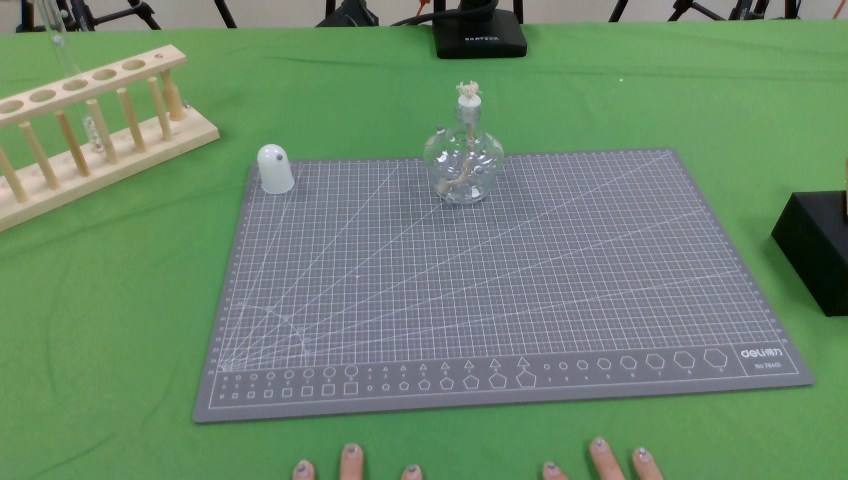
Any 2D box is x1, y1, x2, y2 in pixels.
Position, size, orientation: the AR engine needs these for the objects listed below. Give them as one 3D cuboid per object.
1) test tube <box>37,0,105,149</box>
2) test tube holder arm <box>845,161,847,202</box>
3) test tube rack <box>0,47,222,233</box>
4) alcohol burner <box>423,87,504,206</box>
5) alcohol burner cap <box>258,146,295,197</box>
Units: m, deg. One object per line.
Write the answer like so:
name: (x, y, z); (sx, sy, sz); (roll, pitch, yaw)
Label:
test tube: (-0.331, -0.155, 0.574); (0.017, 0.151, 0.017); (1, 38, 0)
test tube holder arm: (0.376, -0.044, 0.527); (0.010, 0.015, 0.087); (19, 48, 15)
test tube rack: (-0.331, -0.101, 0.589); (0.242, 0.086, 0.066); (-32, 53, -30)
alcohol burner: (0.038, -0.090, 0.564); (0.078, 0.120, 0.077); (2, 45, -1)
alcohol burner cap: (-0.144, -0.069, 0.589); (0.034, 0.048, 0.033); (1, 45, -1)
